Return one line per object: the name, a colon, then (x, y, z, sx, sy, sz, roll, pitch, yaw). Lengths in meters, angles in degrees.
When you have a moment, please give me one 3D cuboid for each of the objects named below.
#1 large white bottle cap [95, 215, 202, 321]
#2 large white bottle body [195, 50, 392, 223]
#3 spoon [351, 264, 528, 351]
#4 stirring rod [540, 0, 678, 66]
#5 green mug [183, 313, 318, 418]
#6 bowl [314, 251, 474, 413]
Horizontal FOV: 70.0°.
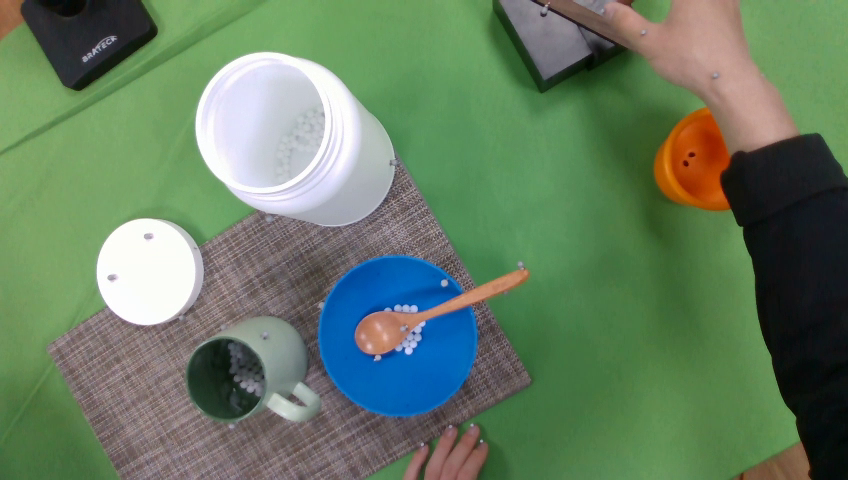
large white bottle cap: (-0.297, 0.030, 0.653, 0.115, 0.018, 0.115, 0, 91, 7)
large white bottle body: (-0.110, -0.086, 0.544, 0.130, 0.185, 0.130, 0, 87, 9)
spoon: (0.010, 0.062, 0.560, 0.193, 0.021, 0.041, -24, 91, 30)
stirring rod: (0.148, -0.203, 0.548, 0.176, 0.006, 0.014, 30, 139, 6)
green mug: (-0.160, 0.131, 0.596, 0.125, 0.105, 0.092, 33, 94, 5)
bowl: (-0.023, 0.085, 0.593, 0.151, 0.077, 0.151, 0, 92, 7)
